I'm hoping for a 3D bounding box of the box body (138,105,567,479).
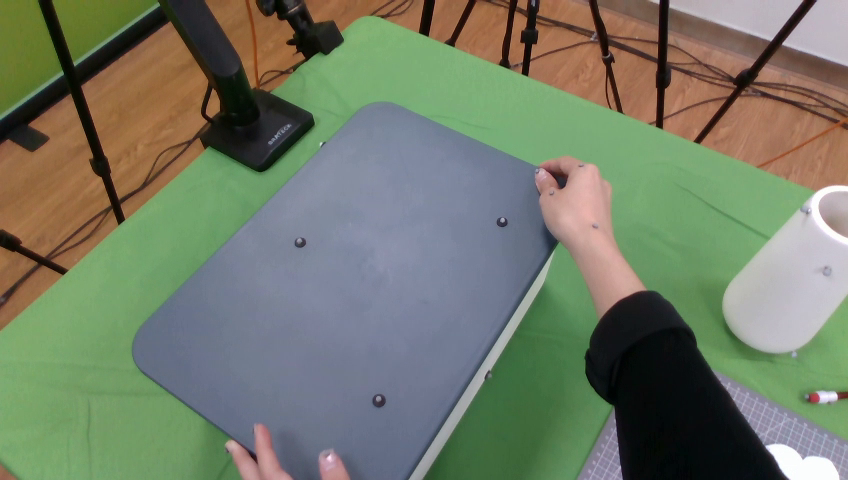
[{"bbox_3d":[-0.049,0.065,0.623,0.252,0.162,0.363,27,60,19],"label":"box body"}]

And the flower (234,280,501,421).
[{"bbox_3d":[-0.042,0.110,0.694,0.362,0.044,0.038,-21,22,-33],"label":"flower"}]

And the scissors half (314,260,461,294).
[{"bbox_3d":[-0.043,0.038,0.716,0.175,0.040,0.012,5,24,3],"label":"scissors half"}]

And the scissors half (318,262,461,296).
[{"bbox_3d":[-0.042,0.051,0.721,0.175,0.040,0.013,-4,17,7],"label":"scissors half"}]

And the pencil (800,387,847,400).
[{"bbox_3d":[0.492,0.154,0.639,0.194,0.012,0.012,-5,55,-3],"label":"pencil"}]

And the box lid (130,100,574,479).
[{"bbox_3d":[-0.049,0.024,0.554,0.262,0.015,0.370,28,61,18],"label":"box lid"}]

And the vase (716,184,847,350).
[{"bbox_3d":[0.373,0.031,0.612,0.098,0.202,0.097,-1,54,2],"label":"vase"}]
